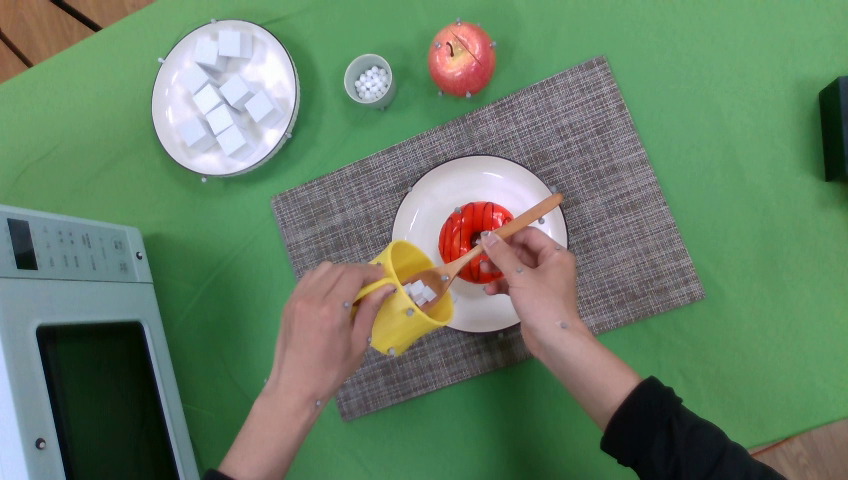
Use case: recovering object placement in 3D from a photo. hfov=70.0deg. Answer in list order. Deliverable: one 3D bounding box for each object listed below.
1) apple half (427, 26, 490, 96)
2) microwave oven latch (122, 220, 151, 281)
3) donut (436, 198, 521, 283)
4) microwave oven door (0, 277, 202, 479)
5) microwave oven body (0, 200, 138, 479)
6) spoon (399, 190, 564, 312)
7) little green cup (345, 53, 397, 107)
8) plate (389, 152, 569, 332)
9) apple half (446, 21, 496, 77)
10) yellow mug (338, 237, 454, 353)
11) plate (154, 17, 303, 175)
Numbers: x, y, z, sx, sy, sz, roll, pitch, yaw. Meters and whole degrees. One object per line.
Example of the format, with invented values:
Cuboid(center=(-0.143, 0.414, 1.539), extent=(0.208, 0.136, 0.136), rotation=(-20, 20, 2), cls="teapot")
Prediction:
Cuboid(center=(0.035, -0.203, 0.716), extent=(0.053, 0.075, 0.080), rotation=(-42, 82, 11), cls="apple half")
Cuboid(center=(-0.384, 0.015, 0.792), extent=(0.030, 0.029, 0.079), rotation=(-17, 83, 10), cls="microwave oven latch")
Cuboid(center=(0.063, 0.001, 0.697), extent=(0.099, 0.048, 0.099), rotation=(-1, 88, 14), cls="donut")
Cuboid(center=(-0.346, 0.215, 0.665), extent=(0.039, 0.245, 0.354), rotation=(-19, 82, 11), cls="microwave oven door")
Cuboid(center=(-0.493, 0.220, 0.702), extent=(0.326, 0.261, 0.440), rotation=(-18, 83, 10), cls="microwave oven body")
Cuboid(center=(0.052, 0.011, 0.584), extent=(0.194, 0.022, 0.041), rotation=(-35, 65, 13), cls="spoon")
Cuboid(center=(-0.064, -0.196, 0.755), extent=(0.061, 0.039, 0.061), rotation=(-1, 86, 13), cls="little green cup")
Cuboid(center=(0.063, 0.003, 0.708), extent=(0.208, 0.038, 0.208), rotation=(-1, 86, 13), cls="plate")
Cuboid(center=(0.063, -0.229, 0.711), extent=(0.033, 0.081, 0.081), rotation=(-42, 78, 10), cls="apple half")
Cuboid(center=(-0.033, 0.055, 0.594), extent=(0.064, 0.131, 0.099), rotation=(-35, 71, 23), cls="yellow mug")
Cuboid(center=(-0.253, -0.186, 0.797), extent=(0.207, 0.039, 0.207), rotation=(-1, 86, 13), cls="plate")
